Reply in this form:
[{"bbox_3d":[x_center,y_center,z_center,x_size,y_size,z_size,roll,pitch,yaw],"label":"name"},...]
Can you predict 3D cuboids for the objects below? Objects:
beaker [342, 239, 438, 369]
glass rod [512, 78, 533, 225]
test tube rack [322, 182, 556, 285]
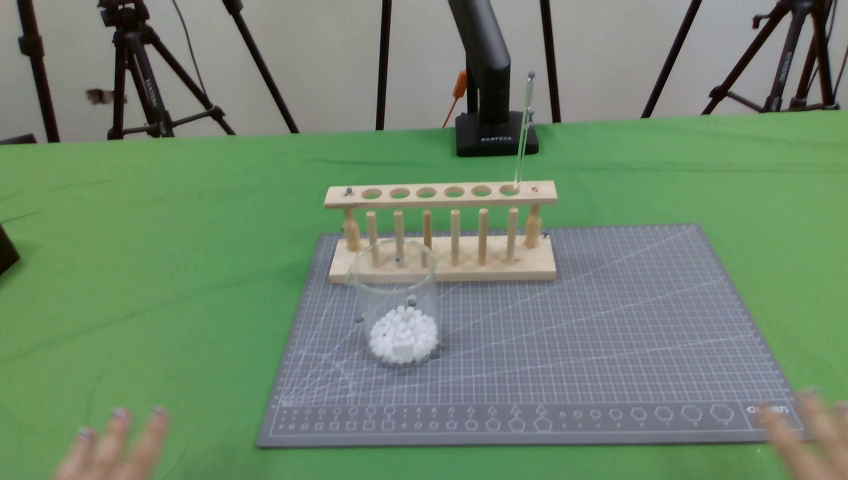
[{"bbox_3d":[-0.027,0.061,0.550,0.084,0.101,0.073,-14,37,-12],"label":"beaker"},{"bbox_3d":[0.097,-0.068,0.613,0.008,0.201,0.008,0,39,0],"label":"glass rod"},{"bbox_3d":[0.016,-0.007,0.650,0.242,0.086,0.066,-1,37,4],"label":"test tube rack"}]
